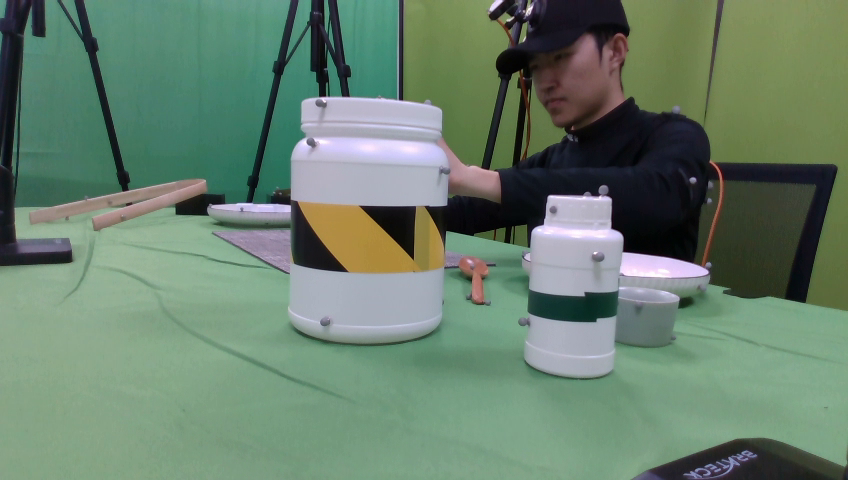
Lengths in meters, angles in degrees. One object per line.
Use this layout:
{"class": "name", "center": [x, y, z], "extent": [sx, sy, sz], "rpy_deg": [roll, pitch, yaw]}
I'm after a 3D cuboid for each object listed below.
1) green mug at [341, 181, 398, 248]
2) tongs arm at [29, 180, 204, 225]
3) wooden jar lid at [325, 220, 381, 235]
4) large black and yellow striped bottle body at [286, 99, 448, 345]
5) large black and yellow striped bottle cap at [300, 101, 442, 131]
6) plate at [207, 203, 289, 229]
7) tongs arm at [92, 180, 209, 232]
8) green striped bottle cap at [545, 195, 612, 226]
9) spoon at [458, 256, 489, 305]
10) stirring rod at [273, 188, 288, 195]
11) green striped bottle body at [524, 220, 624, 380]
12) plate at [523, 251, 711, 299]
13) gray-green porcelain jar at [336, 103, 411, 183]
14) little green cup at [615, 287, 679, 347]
{"class": "green mug", "center": [-0.090, -0.044, 0.997], "extent": [0.093, 0.105, 0.125], "rpy_deg": [0, 7, -9]}
{"class": "tongs arm", "center": [-0.609, -0.083, 1.245], "extent": [0.050, 0.026, 0.386], "rpy_deg": [5, 16, 23]}
{"class": "wooden jar lid", "center": [-0.136, -0.025, 1.162], "extent": [0.108, 0.020, 0.108], "rpy_deg": [3, 8, 0]}
{"class": "large black and yellow striped bottle body", "center": [-0.047, -0.018, 0.501], "extent": [0.131, 0.184, 0.130], "rpy_deg": [2, 7, 0]}
{"class": "large black and yellow striped bottle cap", "center": [-0.042, -0.100, 0.491], "extent": [0.115, 0.019, 0.115], "rpy_deg": [1, 8, 0]}
{"class": "plate", "center": [-0.342, -0.050, 1.259], "extent": [0.208, 0.039, 0.207], "rpy_deg": [2, 7, 0]}
{"class": "tongs arm", "center": [-0.534, -0.076, 1.221], "extent": [0.028, 0.028, 0.388], "rpy_deg": [-2, 15, 12]}
{"class": "green striped bottle cap", "center": [0.106, -0.020, 0.414], "extent": [0.044, 0.020, 0.044], "rpy_deg": [2, 4, 0]}
{"class": "spoon", "center": [0.059, 0.044, 0.696], "extent": [0.041, 0.021, 0.194], "rpy_deg": [19, 7, 1]}
{"class": "stirring rod", "center": [-0.353, -0.122, 1.518], "extent": [0.006, 0.014, 0.176], "rpy_deg": [1, 7, 2]}
{"class": "green striped bottle body", "center": [0.104, 0.031, 0.422], "extent": [0.063, 0.119, 0.063], "rpy_deg": [2, 8, 0]}
{"class": "plate", "center": [0.219, 0.041, 0.706], "extent": [0.209, 0.038, 0.209], "rpy_deg": [2, 7, 0]}
{"class": "gray-green porcelain jar", "center": [-0.073, -0.139, 0.880], "extent": [0.106, 0.105, 0.126], "rpy_deg": [2, 1, -4]}
{"class": "little green cup", "center": [0.180, 0.064, 0.506], "extent": [0.061, 0.038, 0.061], "rpy_deg": [2, 8, 0]}
